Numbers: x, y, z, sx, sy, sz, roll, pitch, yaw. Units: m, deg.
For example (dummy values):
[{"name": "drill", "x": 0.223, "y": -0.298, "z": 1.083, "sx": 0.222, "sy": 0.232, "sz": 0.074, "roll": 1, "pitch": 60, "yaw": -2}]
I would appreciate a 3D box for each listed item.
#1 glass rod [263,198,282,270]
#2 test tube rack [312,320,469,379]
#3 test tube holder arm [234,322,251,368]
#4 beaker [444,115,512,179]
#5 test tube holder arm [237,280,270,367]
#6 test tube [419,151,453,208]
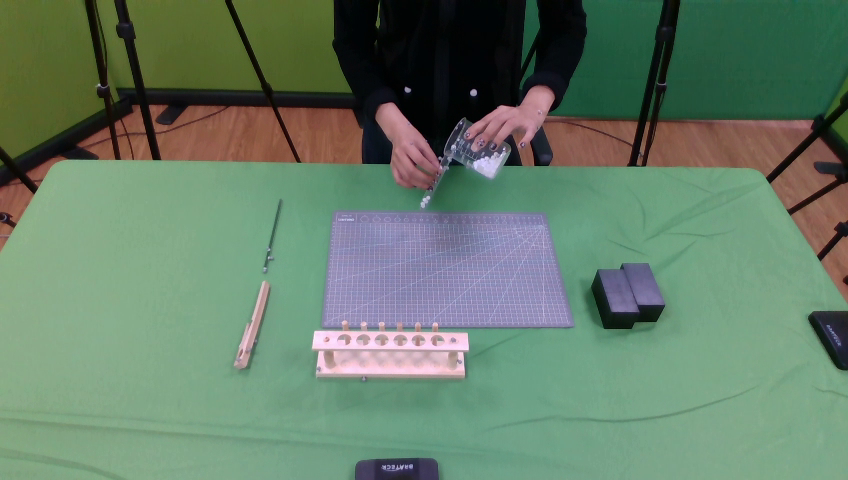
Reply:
[{"name": "glass rod", "x": -0.299, "y": -0.017, "z": 1.202, "sx": 0.008, "sy": 0.008, "sz": 0.198, "roll": 1, "pitch": 46, "yaw": -2}, {"name": "test tube rack", "x": -0.054, "y": 0.173, "z": 0.984, "sx": 0.242, "sy": 0.085, "sz": 0.066, "roll": 1, "pitch": 46, "yaw": -3}, {"name": "test tube holder arm", "x": -0.299, "y": 0.173, "z": 1.013, "sx": 0.010, "sy": 0.015, "sz": 0.087, "roll": -17, "pitch": 41, "yaw": 22}, {"name": "beaker", "x": 0.095, "y": -0.157, "z": 1.058, "sx": 0.100, "sy": 0.084, "sz": 0.074, "roll": 32, "pitch": 48, "yaw": 8}, {"name": "test tube holder arm", "x": -0.291, "y": 0.140, "z": 1.042, "sx": 0.013, "sy": 0.015, "sz": 0.177, "roll": -17, "pitch": 41, "yaw": 22}, {"name": "test tube", "x": 0.021, "y": -0.112, "z": 1.146, "sx": 0.017, "sy": 0.150, "sz": 0.017, "roll": 13, "pitch": 48, "yaw": -15}]
